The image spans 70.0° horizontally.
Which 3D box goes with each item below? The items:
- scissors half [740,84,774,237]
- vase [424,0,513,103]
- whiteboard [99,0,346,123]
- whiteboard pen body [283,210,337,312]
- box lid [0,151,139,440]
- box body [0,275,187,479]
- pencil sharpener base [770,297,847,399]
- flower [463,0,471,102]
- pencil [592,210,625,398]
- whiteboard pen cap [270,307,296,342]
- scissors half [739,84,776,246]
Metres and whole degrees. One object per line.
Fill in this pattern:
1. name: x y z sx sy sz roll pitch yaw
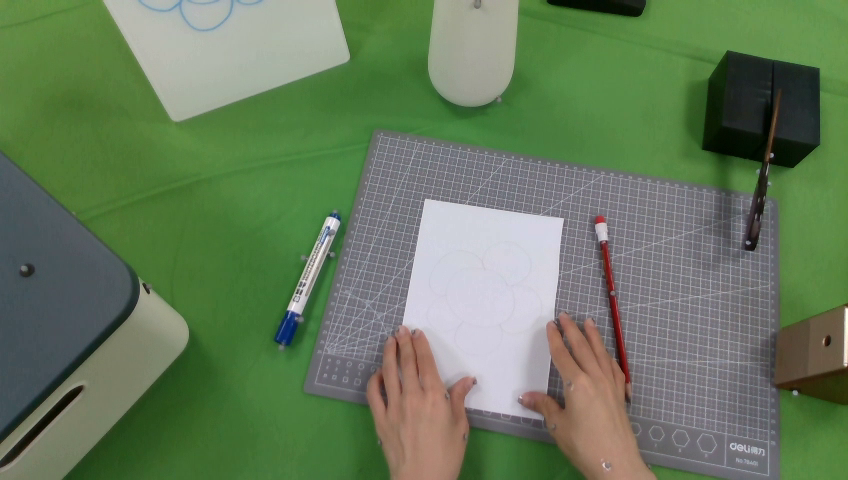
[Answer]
1. scissors half: 0.342 -0.084 0.613 0.013 0.040 0.174 12 71 24
2. vase: 0.047 -0.231 0.622 0.098 0.201 0.097 0 67 1
3. whiteboard: -0.236 -0.316 0.628 0.217 0.308 0.142 -22 51 -8
4. whiteboard pen body: -0.120 0.031 0.617 0.017 0.017 0.140 17 68 7
5. box lid: -0.430 0.021 0.461 0.370 0.015 0.263 36 73 12
6. box body: -0.429 0.049 0.530 0.362 0.161 0.253 36 73 12
7. pencil sharpener base: 0.378 0.101 0.546 0.076 0.107 0.061 15 69 2
8. flower: 0.042 -0.275 0.550 0.044 0.365 0.038 4 51 5
9. pencil: 0.187 0.060 0.612 0.012 0.012 0.192 -3 71 -1
10. whiteboard pen cap: -0.137 0.083 0.595 0.018 0.018 0.033 16 66 6
11. scissors half: 0.350 -0.079 0.631 0.012 0.040 0.175 11 88 29
